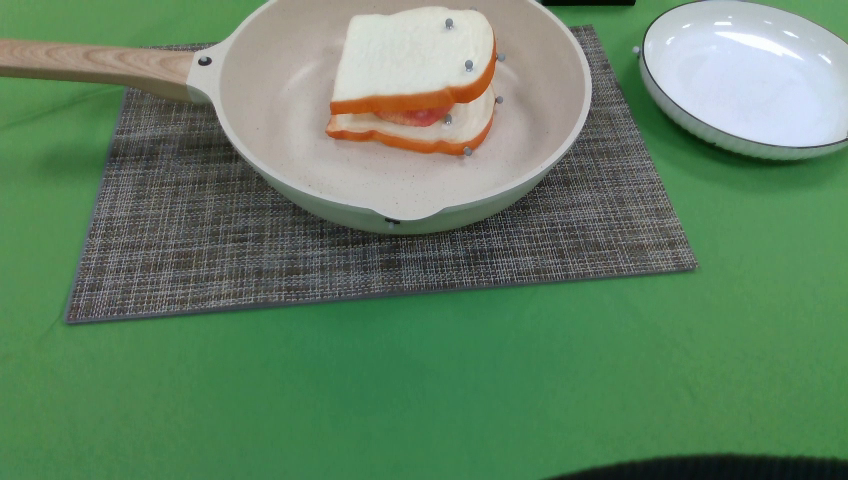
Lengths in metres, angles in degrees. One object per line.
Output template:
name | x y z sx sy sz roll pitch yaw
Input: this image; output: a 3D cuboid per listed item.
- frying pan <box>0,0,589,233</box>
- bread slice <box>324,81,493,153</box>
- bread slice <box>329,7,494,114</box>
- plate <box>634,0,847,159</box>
frying pan | -0.120 -0.127 0.482 0.489 0.103 0.303 5 53 -8
bread slice | -0.008 -0.120 0.527 0.134 0.018 0.106 8 55 4
bread slice | -0.008 -0.150 0.493 0.131 0.019 0.104 -1 59 12
plate | 0.294 -0.146 0.554 0.208 0.039 0.205 1 54 -1
